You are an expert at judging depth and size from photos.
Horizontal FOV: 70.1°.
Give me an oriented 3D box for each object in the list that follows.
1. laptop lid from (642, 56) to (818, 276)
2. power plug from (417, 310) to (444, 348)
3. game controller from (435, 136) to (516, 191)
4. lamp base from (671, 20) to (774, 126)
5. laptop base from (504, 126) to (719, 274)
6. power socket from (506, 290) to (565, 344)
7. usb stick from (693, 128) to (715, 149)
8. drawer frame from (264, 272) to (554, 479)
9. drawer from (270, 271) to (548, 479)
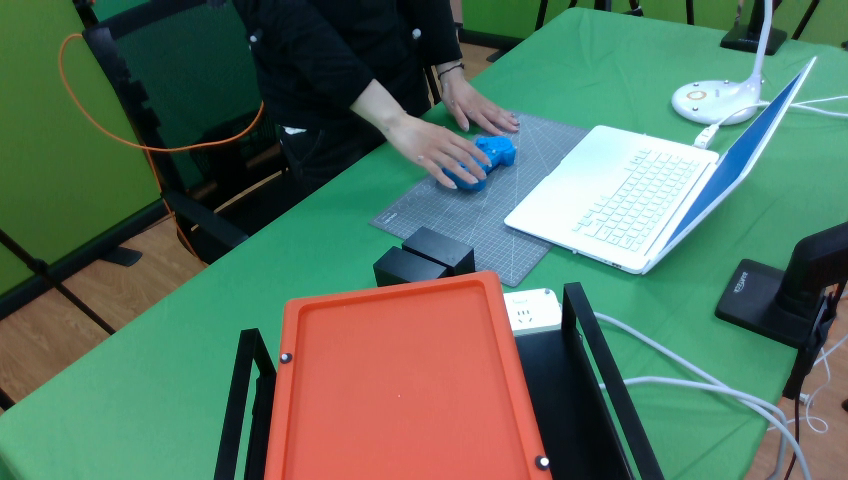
[{"bbox_3d":[0.445,-0.108,0.876,0.013,0.241,0.357,39,53,12],"label":"laptop lid"},{"bbox_3d":[0.007,0.123,0.784,0.035,0.053,0.072,-1,43,7],"label":"power plug"},{"bbox_3d":[0.099,-0.150,1.110,0.096,0.052,0.155,30,53,29],"label":"game controller"},{"bbox_3d":[0.581,-0.332,1.154,0.179,0.181,0.160,2,41,7],"label":"lamp base"},{"bbox_3d":[0.326,-0.084,1.027,0.233,0.023,0.355,21,48,32],"label":"laptop base"},{"bbox_3d":[0.081,0.112,0.822,0.227,0.033,0.072,-7,40,0],"label":"power socket"},{"bbox_3d":[0.501,-0.176,1.091,0.021,0.027,0.059,30,56,29],"label":"usb stick"},{"bbox_3d":[-0.016,0.134,0.494,0.202,0.083,0.212,-8,41,-2],"label":"drawer frame"},{"bbox_3d":[-0.018,0.132,0.499,0.195,0.073,0.210,-7,41,-1],"label":"drawer"}]
